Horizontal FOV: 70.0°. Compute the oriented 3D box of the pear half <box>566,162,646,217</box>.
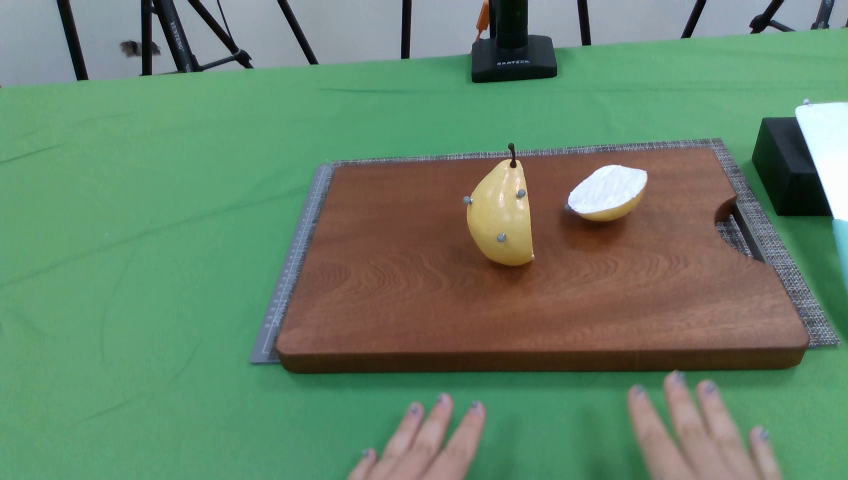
[{"bbox_3d":[0.168,-0.042,0.554,0.070,0.031,0.087,-8,24,23],"label":"pear half"}]

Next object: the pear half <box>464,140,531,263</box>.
[{"bbox_3d":[0.060,-0.034,0.503,0.056,0.111,0.075,-8,36,0],"label":"pear half"}]

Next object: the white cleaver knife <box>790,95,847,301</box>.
[{"bbox_3d":[0.371,-0.029,0.511,0.066,0.022,0.284,1,55,12],"label":"white cleaver knife"}]
